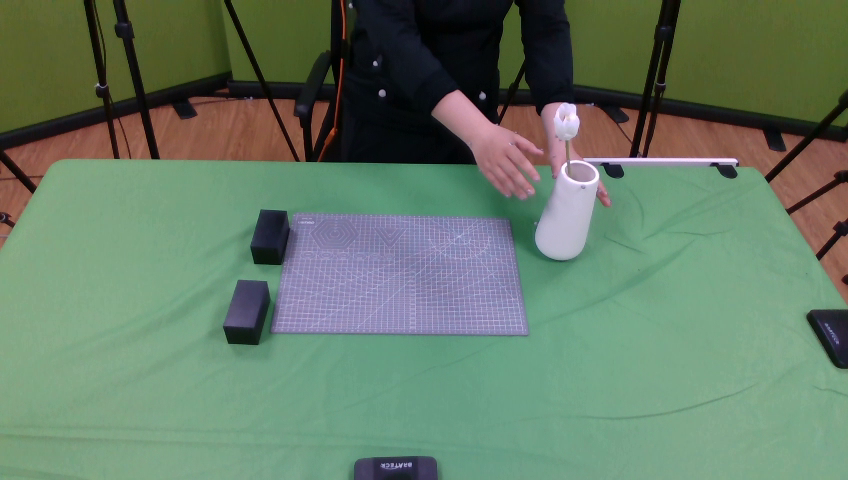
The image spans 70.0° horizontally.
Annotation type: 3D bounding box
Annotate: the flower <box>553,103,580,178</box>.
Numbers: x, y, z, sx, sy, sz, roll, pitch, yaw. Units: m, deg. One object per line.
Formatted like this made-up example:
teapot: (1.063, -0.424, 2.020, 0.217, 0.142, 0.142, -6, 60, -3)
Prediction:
flower: (0.258, -0.102, 1.079, 0.038, 0.364, 0.043, -21, 54, 1)

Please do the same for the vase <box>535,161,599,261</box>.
vase: (0.270, -0.051, 1.145, 0.098, 0.201, 0.097, 1, 46, -1)
